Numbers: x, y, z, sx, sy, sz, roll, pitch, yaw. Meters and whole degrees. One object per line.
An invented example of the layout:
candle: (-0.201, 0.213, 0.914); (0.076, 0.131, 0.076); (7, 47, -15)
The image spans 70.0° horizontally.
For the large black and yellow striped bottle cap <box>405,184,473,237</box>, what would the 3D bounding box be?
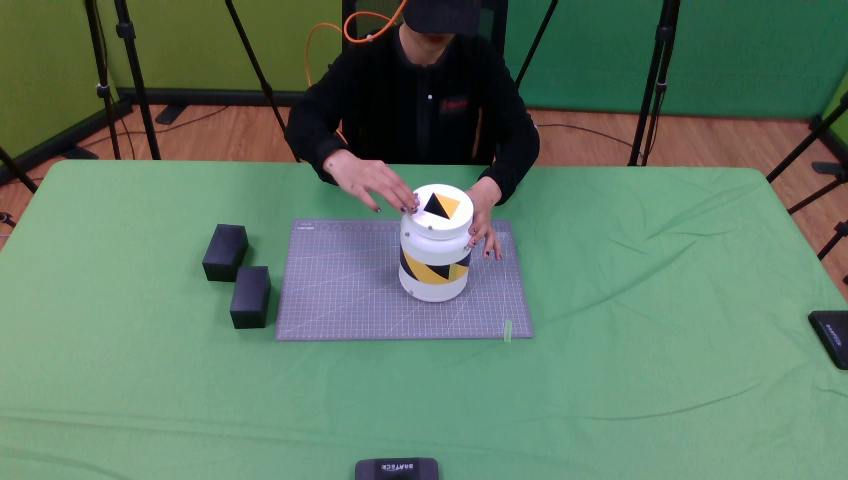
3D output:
large black and yellow striped bottle cap: (0.025, -0.052, 1.015); (0.115, 0.019, 0.114); (3, 46, -3)

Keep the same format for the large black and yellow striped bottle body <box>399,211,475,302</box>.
large black and yellow striped bottle body: (0.021, 0.007, 1.075); (0.131, 0.185, 0.130); (2, 46, -2)
